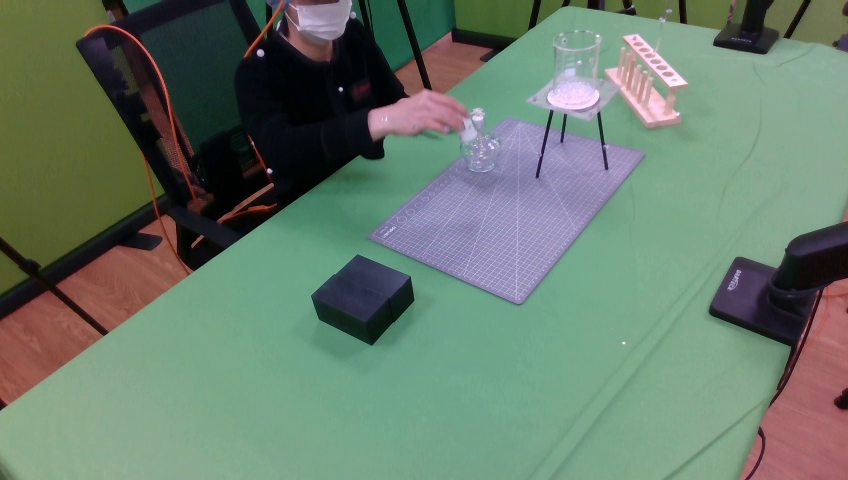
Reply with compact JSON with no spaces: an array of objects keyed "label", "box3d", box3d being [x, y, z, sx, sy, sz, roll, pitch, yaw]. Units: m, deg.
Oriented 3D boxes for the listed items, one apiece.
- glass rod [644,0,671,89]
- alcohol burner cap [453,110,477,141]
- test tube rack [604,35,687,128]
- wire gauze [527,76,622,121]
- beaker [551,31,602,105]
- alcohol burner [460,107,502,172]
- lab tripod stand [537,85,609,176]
[{"label":"glass rod","box3d":[0.463,-0.387,1.204,0.008,0.200,0.008,0,47,1]},{"label":"alcohol burner cap","box3d":[0.065,-0.189,0.987,0.034,0.048,0.033,-16,40,14]},{"label":"test tube rack","box3d":[0.447,-0.330,1.241,0.067,0.085,0.241,-9,41,-2]},{"label":"wire gauze","box3d":[0.255,-0.247,1.031,0.124,0.011,0.122,23,49,34]},{"label":"beaker","box3d":[0.252,-0.282,0.998,0.084,0.101,0.073,-16,42,-7]},{"label":"alcohol burner","box3d":[0.102,-0.185,1.098,0.078,0.119,0.077,-6,40,5]},{"label":"lab tripod stand","box3d":[0.259,-0.192,1.068,0.148,0.132,0.147,-4,43,4]}]
